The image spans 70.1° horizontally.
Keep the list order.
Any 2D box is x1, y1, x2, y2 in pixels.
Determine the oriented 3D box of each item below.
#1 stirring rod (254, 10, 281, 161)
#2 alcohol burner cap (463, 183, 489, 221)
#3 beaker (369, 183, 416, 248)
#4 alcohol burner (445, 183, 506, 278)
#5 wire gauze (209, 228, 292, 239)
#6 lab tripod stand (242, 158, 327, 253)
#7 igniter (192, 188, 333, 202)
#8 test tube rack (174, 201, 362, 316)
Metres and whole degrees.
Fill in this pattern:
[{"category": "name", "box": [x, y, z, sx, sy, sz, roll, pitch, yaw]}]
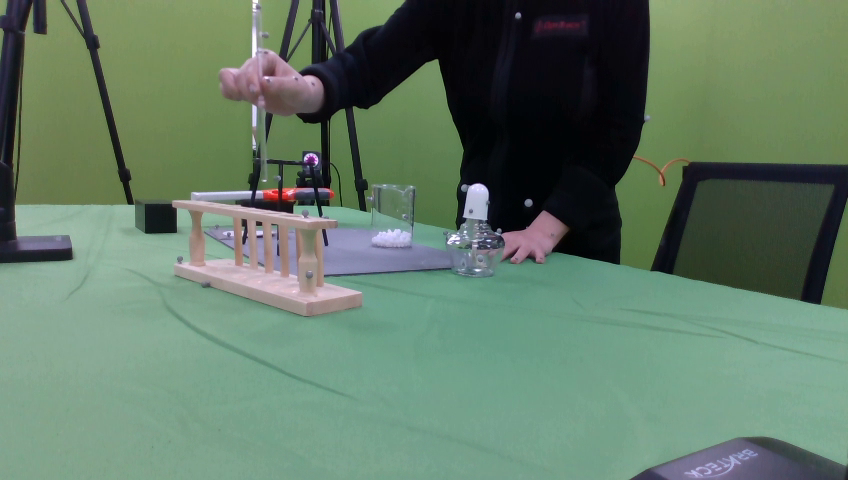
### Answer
[{"category": "stirring rod", "box": [-0.182, -0.180, 0.704, 0.006, 0.176, 0.014, -8, 1, -29]}, {"category": "alcohol burner cap", "box": [0.067, -0.048, 0.765, 0.034, 0.048, 0.034, 5, 5, 0]}, {"category": "beaker", "box": [-0.050, -0.039, 0.971, 0.074, 0.100, 0.083, -1, 9, -25]}, {"category": "alcohol burner", "box": [0.066, -0.013, 0.770, 0.078, 0.119, 0.078, 0, 7, 0]}, {"category": "wire gauze", "box": [-0.298, -0.013, 1.039, 0.122, 0.011, 0.124, -2, 6, -27]}, {"category": "lab tripod stand", "box": [-0.207, -0.054, 0.895, 0.148, 0.131, 0.148, 3, 5, 0]}, {"category": "igniter", "box": [-0.316, -0.090, 1.213, 0.278, 0.025, 0.057, -5, 12, -32]}, {"category": "test tube rack", "box": [-0.169, 0.010, 0.622, 0.241, 0.085, 0.067, 9, 9, 41]}]
